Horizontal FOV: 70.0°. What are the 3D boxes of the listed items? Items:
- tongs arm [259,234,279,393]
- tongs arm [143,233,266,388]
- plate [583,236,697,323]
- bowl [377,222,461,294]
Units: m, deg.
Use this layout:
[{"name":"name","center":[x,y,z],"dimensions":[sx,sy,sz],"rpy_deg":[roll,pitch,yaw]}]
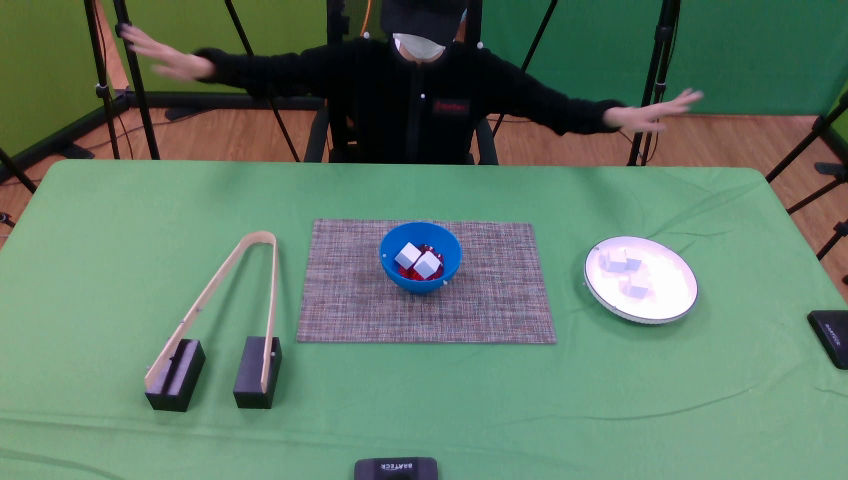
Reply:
[{"name":"tongs arm","center":[-0.265,0.104,1.023],"dimensions":[0.028,0.028,0.385],"rpy_deg":[-7,35,-6]},{"name":"tongs arm","center":[-0.353,0.100,1.022],"dimensions":[0.051,0.026,0.383],"rpy_deg":[4,34,5]},{"name":"plate","center":[0.403,0.078,1.144],"dimensions":[0.209,0.038,0.208],"rpy_deg":[2,45,-2]},{"name":"bowl","center":[-0.010,0.045,1.109],"dimensions":[0.151,0.077,0.150],"rpy_deg":[2,46,-2]}]
